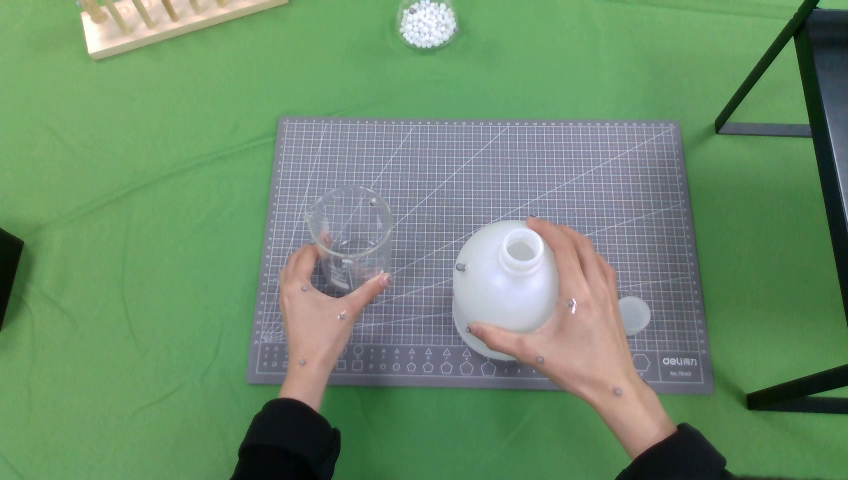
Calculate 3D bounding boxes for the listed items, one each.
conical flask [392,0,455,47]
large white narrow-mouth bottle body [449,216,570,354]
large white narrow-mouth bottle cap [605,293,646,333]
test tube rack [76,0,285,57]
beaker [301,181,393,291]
[{"bbox_3d":[-0.002,-0.282,0.675,0.075,0.122,0.075,0,69,2],"label":"conical flask"},{"bbox_3d":[0.072,0.035,0.519,0.102,0.196,0.101,-1,70,4],"label":"large white narrow-mouth bottle body"},{"bbox_3d":[0.198,0.073,0.595,0.038,0.024,0.037,-1,71,3],"label":"large white narrow-mouth bottle cap"},{"bbox_3d":[-0.296,-0.300,0.707,0.242,0.086,0.066,-19,70,-6],"label":"test tube rack"},{"bbox_3d":[-0.072,0.001,0.580,0.084,0.101,0.073,12,63,3],"label":"beaker"}]
